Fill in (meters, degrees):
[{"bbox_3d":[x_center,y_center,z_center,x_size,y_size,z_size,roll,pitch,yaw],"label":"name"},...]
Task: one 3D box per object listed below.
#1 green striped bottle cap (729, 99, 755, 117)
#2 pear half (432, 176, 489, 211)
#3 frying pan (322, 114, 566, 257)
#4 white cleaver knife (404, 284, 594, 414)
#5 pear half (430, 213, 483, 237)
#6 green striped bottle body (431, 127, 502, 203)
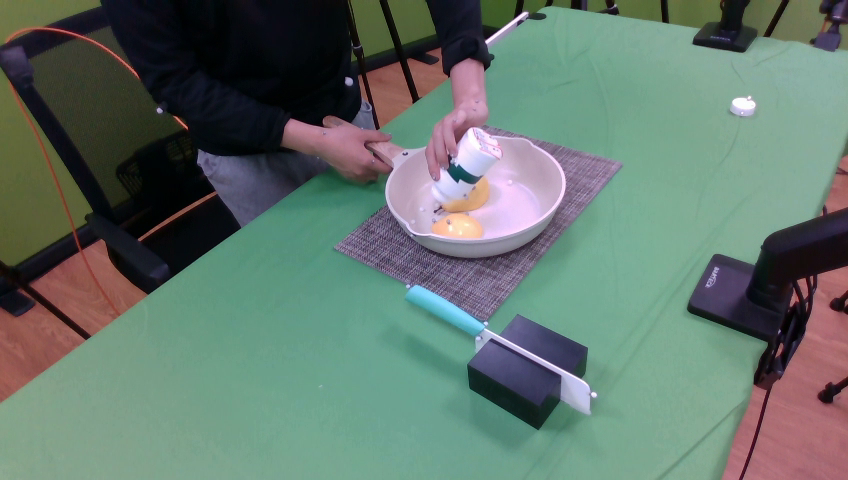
[{"bbox_3d":[0.623,-0.259,1.183,0.044,0.020,0.044,-3,40,3],"label":"green striped bottle cap"},{"bbox_3d":[0.057,-0.083,1.024,0.110,0.056,0.075,-32,42,-25],"label":"pear half"},{"bbox_3d":[0.004,-0.121,1.039,0.484,0.103,0.308,31,52,25],"label":"frying pan"},{"bbox_3d":[0.084,0.135,0.764,0.284,0.066,0.021,28,47,31],"label":"white cleaver knife"},{"bbox_3d":[0.051,-0.024,0.973,0.087,0.031,0.070,15,41,17],"label":"pear half"},{"bbox_3d":[0.058,-0.107,0.910,0.063,0.119,0.063,26,38,-22],"label":"green striped bottle body"}]
